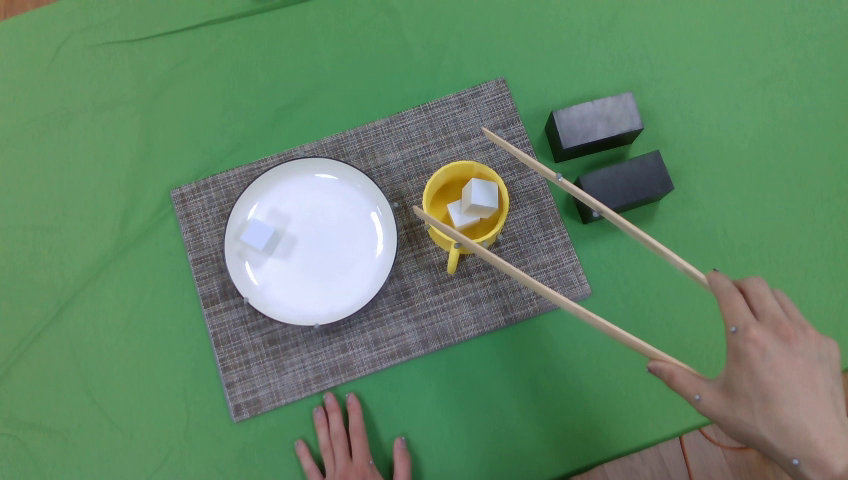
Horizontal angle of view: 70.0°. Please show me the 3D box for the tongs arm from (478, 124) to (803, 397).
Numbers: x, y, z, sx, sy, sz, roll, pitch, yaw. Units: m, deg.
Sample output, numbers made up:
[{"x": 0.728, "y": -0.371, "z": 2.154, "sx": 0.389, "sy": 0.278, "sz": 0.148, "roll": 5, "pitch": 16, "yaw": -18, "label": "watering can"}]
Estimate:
[{"x": 0.169, "y": -0.004, "z": 0.558, "sx": 0.051, "sy": 0.027, "sz": 0.381, "roll": -47, "pitch": 55, "yaw": -4, "label": "tongs arm"}]

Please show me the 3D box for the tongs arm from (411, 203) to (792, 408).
[{"x": 0.128, "y": 0.045, "z": 0.554, "sx": 0.384, "sy": 0.028, "sz": 0.028, "roll": 31, "pitch": 76, "yaw": 34, "label": "tongs arm"}]

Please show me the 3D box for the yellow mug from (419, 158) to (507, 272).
[{"x": 0.042, "y": -0.025, "z": 0.716, "sx": 0.100, "sy": 0.064, "sz": 0.130, "roll": 12, "pitch": 80, "yaw": 4, "label": "yellow mug"}]

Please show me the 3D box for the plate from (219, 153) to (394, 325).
[{"x": -0.138, "y": 0.000, "z": 0.732, "sx": 0.207, "sy": 0.039, "sz": 0.206, "roll": 0, "pitch": 79, "yaw": 2, "label": "plate"}]
